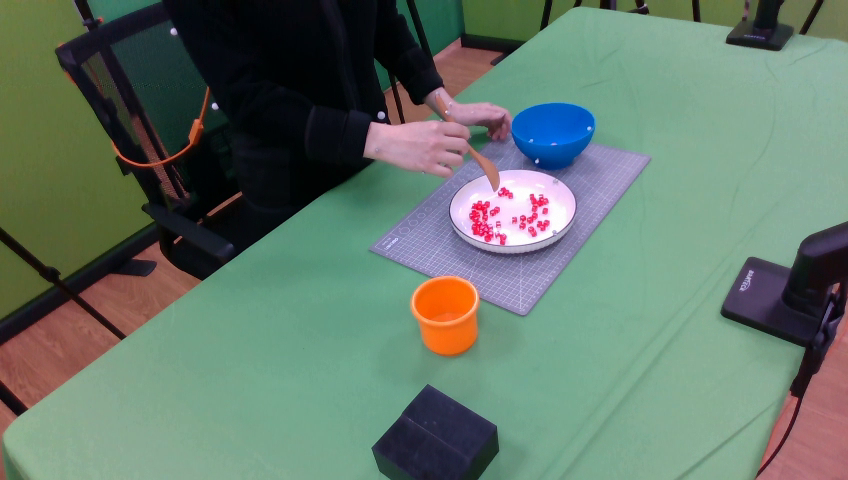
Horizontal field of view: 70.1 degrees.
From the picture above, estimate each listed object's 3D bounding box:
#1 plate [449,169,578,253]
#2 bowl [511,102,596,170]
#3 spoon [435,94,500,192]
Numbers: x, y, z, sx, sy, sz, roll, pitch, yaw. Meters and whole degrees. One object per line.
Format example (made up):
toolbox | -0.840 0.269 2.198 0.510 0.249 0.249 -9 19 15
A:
plate | 0.146 -0.044 0.993 0.209 0.038 0.208 -5 40 5
bowl | 0.237 -0.182 1.107 0.151 0.077 0.150 -6 40 5
spoon | 0.068 -0.144 0.915 0.021 0.195 0.041 -17 41 35
